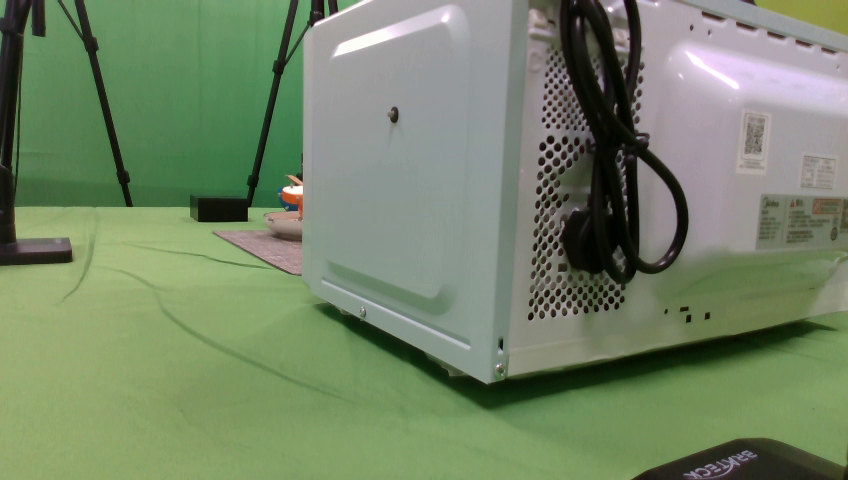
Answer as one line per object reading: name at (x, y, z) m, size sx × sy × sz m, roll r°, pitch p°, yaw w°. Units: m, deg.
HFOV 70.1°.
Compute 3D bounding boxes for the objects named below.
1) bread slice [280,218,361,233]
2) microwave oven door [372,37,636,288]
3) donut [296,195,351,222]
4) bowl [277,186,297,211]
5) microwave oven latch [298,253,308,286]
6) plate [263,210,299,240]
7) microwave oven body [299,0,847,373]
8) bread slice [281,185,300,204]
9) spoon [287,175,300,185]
bread slice at (-0.187, -0.026, 1.075) m, size 0.135 × 0.018 × 0.106 m, roll -1°, pitch 7°, yaw -22°
microwave oven door at (0.110, -0.080, 0.686) m, size 0.358 × 0.243 × 0.039 m, roll -2°, pitch 9°, yaw -33°
donut at (-0.179, -0.056, 1.080) m, size 0.099 × 0.048 × 0.099 m, roll 2°, pitch 5°, yaw 0°
bowl at (-0.241, -0.073, 1.302) m, size 0.151 × 0.077 × 0.151 m, roll 2°, pitch 7°, yaw 0°
microwave oven latch at (-0.081, 0.028, 0.582) m, size 0.079 × 0.029 × 0.030 m, roll -2°, pitch 7°, yaw -33°
plate at (-0.180, -0.025, 1.079) m, size 0.208 × 0.039 × 0.207 m, roll 3°, pitch 7°, yaw 0°
microwave oven body at (0.152, -0.055, 0.542) m, size 0.444 × 0.260 × 0.324 m, roll -2°, pitch 7°, yaw -33°
bread slice at (-0.185, -0.082, 1.071) m, size 0.132 × 0.019 × 0.104 m, roll -2°, pitch 14°, yaw -18°
spoon at (-0.262, -0.111, 1.342) m, size 0.042 × 0.021 × 0.192 m, roll -6°, pitch 32°, yaw -34°
